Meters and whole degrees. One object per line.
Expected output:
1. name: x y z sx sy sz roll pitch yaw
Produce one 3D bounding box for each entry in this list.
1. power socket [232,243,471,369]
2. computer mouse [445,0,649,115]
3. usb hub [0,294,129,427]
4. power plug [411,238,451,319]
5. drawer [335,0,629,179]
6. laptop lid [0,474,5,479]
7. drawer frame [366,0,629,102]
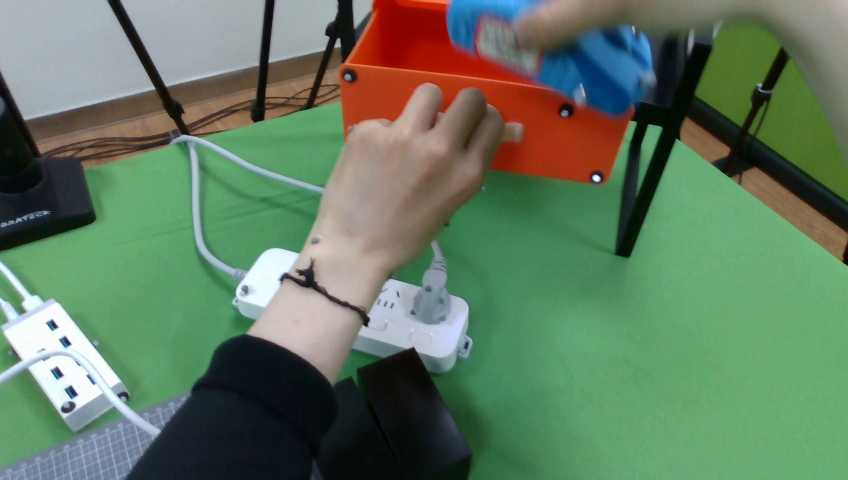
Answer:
1. power socket: -0.067 0.058 0.558 0.226 0.033 0.072 14 47 11
2. computer mouse: 0.071 -0.116 0.332 0.117 0.041 0.062 27 54 0
3. usb hub: -0.306 0.098 0.512 0.124 0.025 0.049 35 55 27
4. power plug: 0.015 0.042 0.547 0.035 0.053 0.072 23 51 20
5. drawer: 0.053 -0.150 0.483 0.194 0.074 0.210 8 46 5
6. laptop lid: -0.441 0.157 0.292 0.357 0.244 0.013 -24 39 -21
7. drawer frame: 0.068 -0.224 0.550 0.201 0.083 0.211 7 46 4
